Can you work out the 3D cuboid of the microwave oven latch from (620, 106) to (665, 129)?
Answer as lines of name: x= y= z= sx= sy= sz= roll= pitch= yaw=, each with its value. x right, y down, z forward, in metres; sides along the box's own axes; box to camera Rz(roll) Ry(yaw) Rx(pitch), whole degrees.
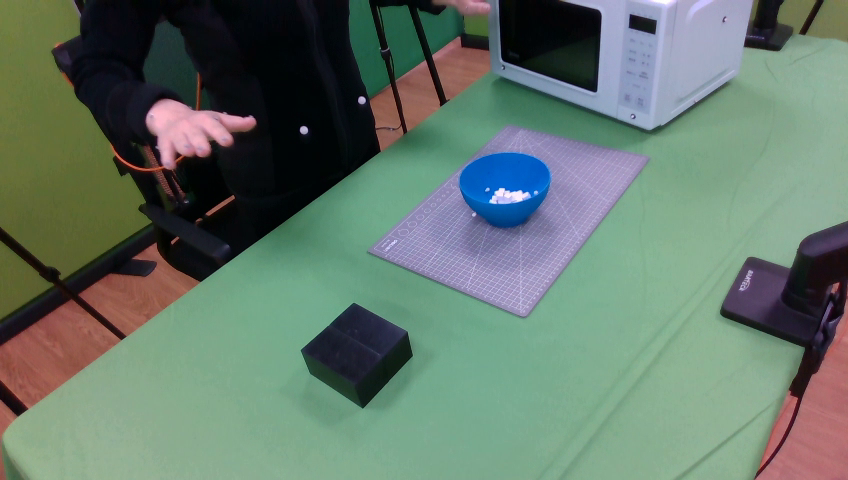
microwave oven latch: x=0.412 y=-0.237 z=1.146 sx=0.030 sy=0.029 sz=0.078 roll=-32 pitch=44 yaw=-24

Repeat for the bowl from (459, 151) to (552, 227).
bowl: x=0.136 y=-0.074 z=1.000 sx=0.151 sy=0.077 sz=0.150 roll=-5 pitch=40 yaw=5

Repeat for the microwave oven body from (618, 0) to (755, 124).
microwave oven body: x=0.402 y=-0.458 z=1.259 sx=0.327 sy=0.261 sz=0.437 roll=-33 pitch=45 yaw=-24

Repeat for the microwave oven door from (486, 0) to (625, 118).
microwave oven door: x=0.262 y=-0.409 z=1.221 sx=0.039 sy=0.245 sz=0.352 roll=-33 pitch=45 yaw=-25
